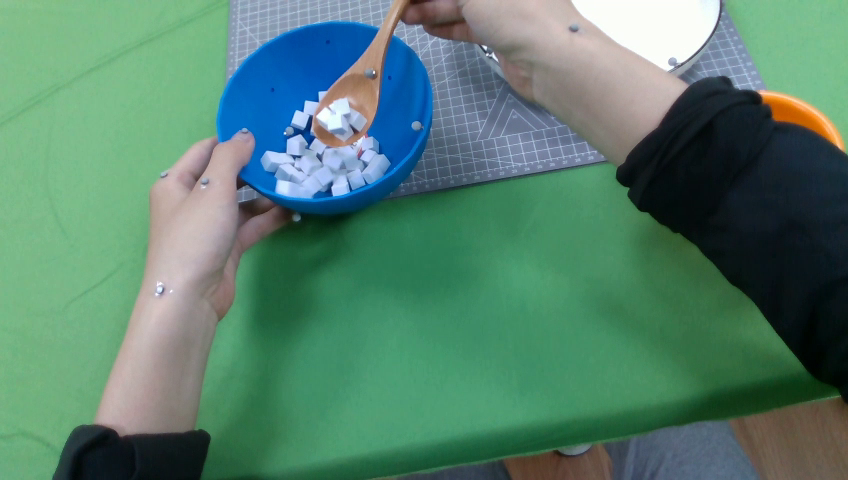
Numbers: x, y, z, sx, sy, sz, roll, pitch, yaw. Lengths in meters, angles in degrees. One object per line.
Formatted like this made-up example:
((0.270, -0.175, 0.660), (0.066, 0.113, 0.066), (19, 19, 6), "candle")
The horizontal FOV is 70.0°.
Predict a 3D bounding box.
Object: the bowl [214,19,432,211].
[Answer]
((-0.066, -0.078, 0.447), (0.151, 0.077, 0.150), (-2, 66, 4), "bowl")

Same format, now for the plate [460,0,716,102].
((0.135, -0.197, 0.521), (0.209, 0.038, 0.207), (-3, 63, 6), "plate")

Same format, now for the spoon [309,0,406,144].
((-0.018, -0.149, 0.393), (0.041, 0.022, 0.194), (35, 104, 14), "spoon")
